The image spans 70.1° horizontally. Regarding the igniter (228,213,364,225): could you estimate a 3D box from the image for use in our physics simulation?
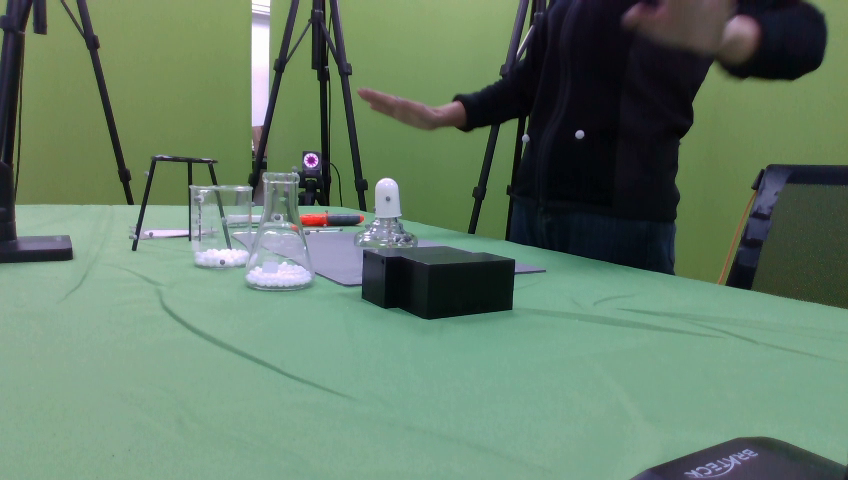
[{"bbox_3d":[-0.252,-0.043,1.226,0.278,0.025,0.057,-2,-2,-32],"label":"igniter"}]

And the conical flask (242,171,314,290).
[{"bbox_3d":[-0.154,-0.011,0.643,0.075,0.122,0.075,2,7,0],"label":"conical flask"}]

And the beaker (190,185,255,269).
[{"bbox_3d":[-0.253,-0.018,0.754,0.083,0.100,0.074,6,8,32],"label":"beaker"}]

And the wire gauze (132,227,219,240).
[{"bbox_3d":[-0.421,-0.014,1.024,0.122,0.011,0.124,-2,7,-34],"label":"wire gauze"}]

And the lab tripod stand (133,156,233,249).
[{"bbox_3d":[-0.342,-0.054,0.878,0.148,0.131,0.148,4,6,0],"label":"lab tripod stand"}]

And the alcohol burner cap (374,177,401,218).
[{"bbox_3d":[-0.044,-0.049,0.704,0.034,0.048,0.034,-4,10,1],"label":"alcohol burner cap"}]

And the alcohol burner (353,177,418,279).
[{"bbox_3d":[-0.044,-0.014,0.710,0.078,0.119,0.078,4,9,0],"label":"alcohol burner"}]

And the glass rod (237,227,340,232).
[{"bbox_3d":[-0.247,-0.020,1.124,0.201,0.008,0.008,-2,8,-34],"label":"glass rod"}]
